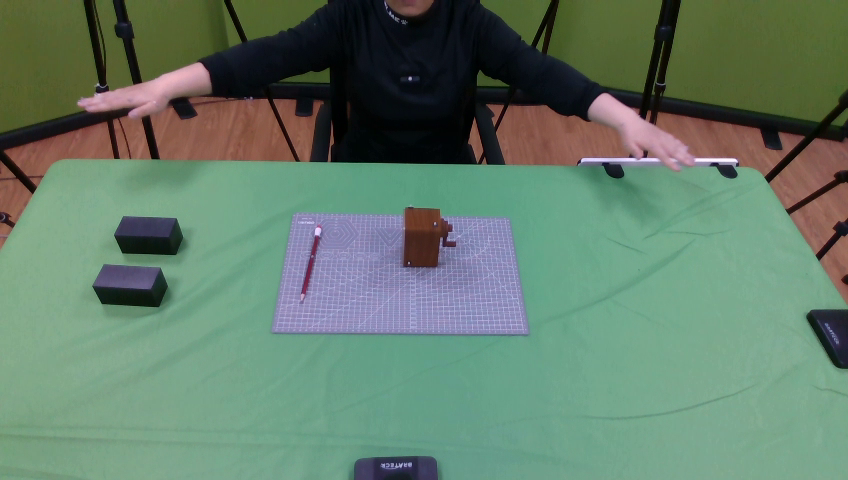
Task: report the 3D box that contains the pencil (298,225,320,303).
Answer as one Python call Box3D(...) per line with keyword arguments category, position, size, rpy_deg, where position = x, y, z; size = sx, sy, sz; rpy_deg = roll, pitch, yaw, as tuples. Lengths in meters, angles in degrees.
Box3D(category="pencil", position=(-0.217, 0.043, 1.144), size=(0.012, 0.012, 0.193), rpy_deg=(4, 47, 0))

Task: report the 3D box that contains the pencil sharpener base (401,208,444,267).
Box3D(category="pencil sharpener base", position=(-0.005, -0.003, 1.137), size=(0.077, 0.107, 0.061), rpy_deg=(1, 45, -4))

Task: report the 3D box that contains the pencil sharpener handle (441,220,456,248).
Box3D(category="pencil sharpener handle", position=(0.047, -0.011, 1.131), size=(0.031, 0.068, 0.036), rpy_deg=(1, 45, -4))
